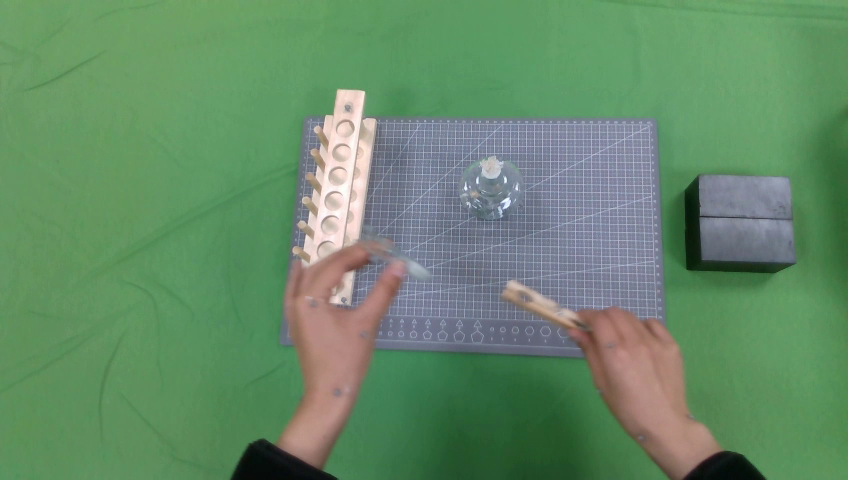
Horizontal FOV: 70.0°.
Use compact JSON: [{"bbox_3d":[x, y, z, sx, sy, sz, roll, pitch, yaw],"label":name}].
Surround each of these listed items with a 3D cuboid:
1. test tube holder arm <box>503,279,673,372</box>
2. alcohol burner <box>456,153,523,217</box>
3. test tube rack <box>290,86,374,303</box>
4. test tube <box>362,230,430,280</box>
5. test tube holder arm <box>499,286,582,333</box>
[{"bbox_3d":[0.159,0.083,0.598,0.178,0.015,0.013,25,69,12],"label":"test tube holder arm"},{"bbox_3d":[0.075,-0.069,0.693,0.078,0.120,0.077,-1,77,5],"label":"alcohol burner"},{"bbox_3d":[-0.113,-0.053,0.719,0.066,0.085,0.241,5,77,6],"label":"test tube rack"},{"bbox_3d":[-0.020,0.016,0.523,0.017,0.151,0.017,-3,76,15],"label":"test tube"},{"bbox_3d":[0.117,0.069,0.606,0.087,0.015,0.010,24,69,11],"label":"test tube holder arm"}]
